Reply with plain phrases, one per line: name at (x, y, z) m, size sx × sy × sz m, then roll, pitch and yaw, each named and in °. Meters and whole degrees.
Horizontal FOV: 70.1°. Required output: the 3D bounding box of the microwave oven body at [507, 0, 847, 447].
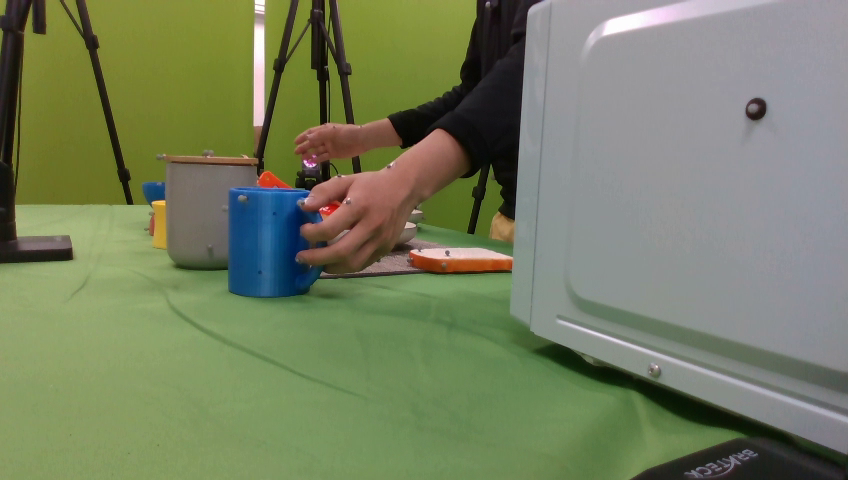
microwave oven body at (0.331, -0.042, 0.425) m, size 0.444 × 0.260 × 0.324 m, roll -2°, pitch 8°, yaw -31°

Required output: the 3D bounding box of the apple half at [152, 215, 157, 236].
apple half at (-0.415, -0.034, 1.017) m, size 0.081 × 0.053 × 0.074 m, roll 1°, pitch 10°, yaw -9°

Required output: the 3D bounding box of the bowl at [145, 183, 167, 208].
bowl at (-0.459, -0.069, 1.175) m, size 0.151 × 0.077 × 0.151 m, roll 2°, pitch 7°, yaw 0°

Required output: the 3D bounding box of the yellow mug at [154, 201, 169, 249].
yellow mug at (-0.337, -0.023, 0.899) m, size 0.130 × 0.064 × 0.100 m, roll 8°, pitch 10°, yaw 34°

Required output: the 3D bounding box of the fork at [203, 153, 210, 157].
fork at (-0.480, -0.134, 1.411) m, size 0.028 × 0.018 × 0.207 m, roll 1°, pitch -35°, yaw 0°

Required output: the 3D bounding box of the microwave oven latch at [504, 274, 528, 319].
microwave oven latch at (0.100, 0.041, 0.470) m, size 0.079 × 0.029 × 0.030 m, roll -1°, pitch 7°, yaw -27°

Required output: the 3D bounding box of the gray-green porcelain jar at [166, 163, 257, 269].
gray-green porcelain jar at (-0.263, -0.031, 0.754) m, size 0.106 × 0.126 × 0.106 m, roll 2°, pitch 7°, yaw 0°

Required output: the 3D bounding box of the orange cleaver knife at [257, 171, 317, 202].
orange cleaver knife at (-0.283, -0.087, 1.343) m, size 0.212 × 0.077 × 0.012 m, roll 24°, pitch -16°, yaw -41°

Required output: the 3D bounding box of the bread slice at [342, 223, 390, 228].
bread slice at (-0.120, -0.014, 0.970) m, size 0.106 × 0.018 × 0.135 m, roll 9°, pitch 11°, yaw 41°

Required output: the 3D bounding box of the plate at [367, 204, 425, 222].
plate at (-0.102, -0.053, 1.299) m, size 0.209 × 0.038 × 0.209 m, roll 2°, pitch 7°, yaw 0°

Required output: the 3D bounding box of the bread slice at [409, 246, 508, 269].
bread slice at (0.048, 0.022, 0.816) m, size 0.132 × 0.019 × 0.104 m, roll 0°, pitch 7°, yaw -24°

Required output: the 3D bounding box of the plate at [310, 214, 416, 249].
plate at (-0.117, -0.014, 0.967) m, size 0.208 × 0.039 × 0.207 m, roll 2°, pitch 8°, yaw 0°

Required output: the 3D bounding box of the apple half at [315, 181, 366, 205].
apple half at (-0.128, -0.076, 0.954) m, size 0.081 × 0.033 × 0.081 m, roll 7°, pitch 11°, yaw -1°

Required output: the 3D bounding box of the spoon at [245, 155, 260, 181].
spoon at (-0.421, -0.150, 1.540) m, size 0.042 × 0.021 × 0.193 m, roll -5°, pitch 55°, yaw -37°

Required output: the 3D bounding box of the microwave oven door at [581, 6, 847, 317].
microwave oven door at (0.295, -0.067, 0.569) m, size 0.358 × 0.243 × 0.039 m, roll -3°, pitch 8°, yaw -31°

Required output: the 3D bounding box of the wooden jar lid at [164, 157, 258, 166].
wooden jar lid at (-0.261, -0.093, 0.746) m, size 0.108 × 0.020 × 0.108 m, roll 0°, pitch 9°, yaw 0°

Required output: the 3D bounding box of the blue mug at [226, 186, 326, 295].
blue mug at (-0.146, -0.001, 0.619) m, size 0.116 × 0.106 × 0.083 m, roll 6°, pitch 9°, yaw 31°

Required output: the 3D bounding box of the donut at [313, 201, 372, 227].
donut at (-0.132, -0.042, 0.959) m, size 0.099 × 0.048 × 0.099 m, roll 2°, pitch 7°, yaw 0°
